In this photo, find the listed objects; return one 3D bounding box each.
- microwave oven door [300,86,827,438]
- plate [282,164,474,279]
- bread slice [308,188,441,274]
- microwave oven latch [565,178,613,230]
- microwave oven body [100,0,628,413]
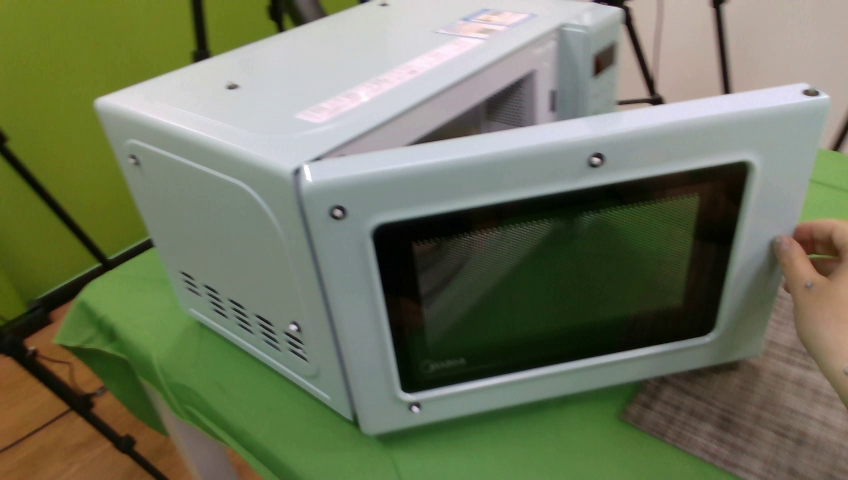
[{"bbox_3d":[0.106,0.027,0.463,0.356,0.246,0.039,-10,34,-6],"label":"microwave oven door"},{"bbox_3d":[-0.048,-0.020,0.663,0.209,0.038,0.207,-5,34,4],"label":"plate"},{"bbox_3d":[-0.050,-0.019,0.667,0.131,0.019,0.104,-31,42,-29],"label":"bread slice"},{"bbox_3d":[0.201,-0.044,0.739,0.030,0.030,0.079,23,44,36],"label":"microwave oven latch"},{"bbox_3d":[-0.035,-0.082,0.661,0.323,0.262,0.441,22,44,34],"label":"microwave oven body"}]
